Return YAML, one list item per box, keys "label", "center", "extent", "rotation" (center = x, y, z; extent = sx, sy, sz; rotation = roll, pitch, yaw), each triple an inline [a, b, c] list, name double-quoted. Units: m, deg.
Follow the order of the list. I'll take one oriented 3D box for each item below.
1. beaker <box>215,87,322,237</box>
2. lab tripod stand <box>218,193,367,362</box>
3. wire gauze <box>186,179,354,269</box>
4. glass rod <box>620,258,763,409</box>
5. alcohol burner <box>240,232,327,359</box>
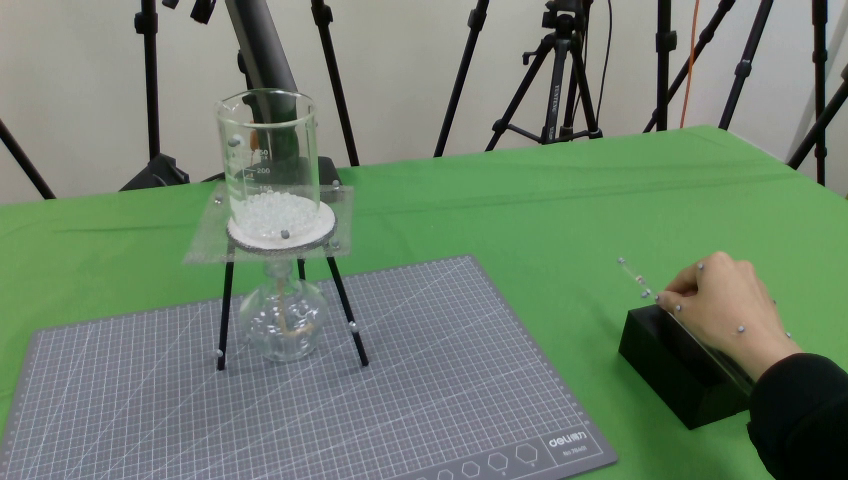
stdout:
- label: "beaker"
  center: [-0.120, -0.060, 0.473]
  extent: [0.083, 0.101, 0.074]
  rotation: [20, 37, 23]
- label: "lab tripod stand"
  center: [-0.115, 0.036, 0.536]
  extent: [0.148, 0.132, 0.147]
  rotation: [3, 33, -2]
- label: "wire gauze"
  center: [-0.120, -0.018, 0.499]
  extent: [0.121, 0.011, 0.124]
  rotation: [-1, 36, -5]
- label: "glass rod"
  center: [0.226, 0.073, 0.532]
  extent: [0.008, 0.008, 0.197]
  rotation: [-8, 35, -14]
- label: "alcohol burner"
  center: [-0.126, 0.046, 0.538]
  extent: [0.078, 0.120, 0.077]
  rotation: [0, 32, 0]
